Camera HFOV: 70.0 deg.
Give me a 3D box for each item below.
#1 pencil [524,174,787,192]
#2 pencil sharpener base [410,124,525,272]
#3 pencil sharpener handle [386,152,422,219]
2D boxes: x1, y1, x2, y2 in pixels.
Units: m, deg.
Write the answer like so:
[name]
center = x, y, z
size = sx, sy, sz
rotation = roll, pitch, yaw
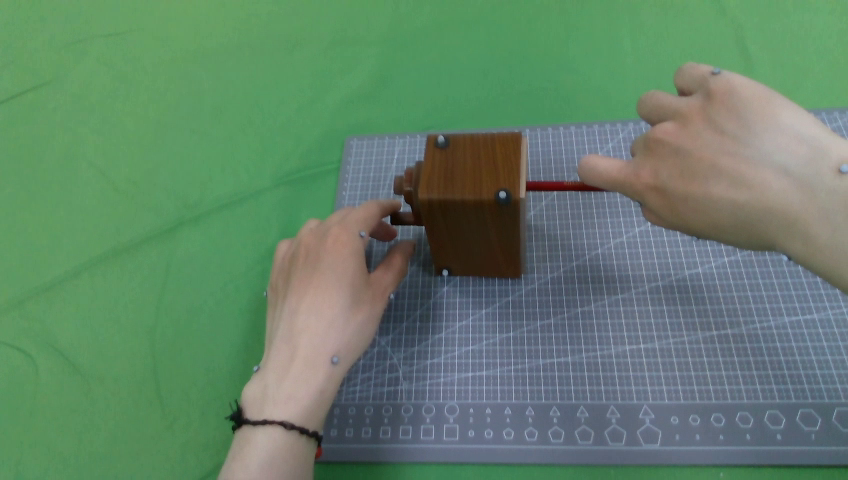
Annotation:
[pencil]
center = 0.138, -0.039, 0.404
size = 0.194, 0.012, 0.012
rotation = 1, 57, 7
[pencil sharpener base]
center = 0.035, -0.027, 0.442
size = 0.076, 0.108, 0.061
rotation = 1, 58, 10
[pencil sharpener handle]
center = -0.017, -0.035, 0.440
size = 0.030, 0.068, 0.035
rotation = 1, 60, 10
